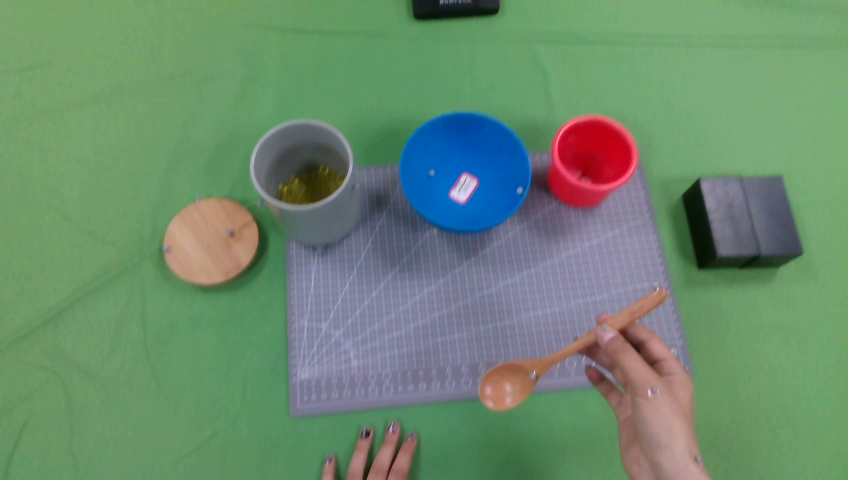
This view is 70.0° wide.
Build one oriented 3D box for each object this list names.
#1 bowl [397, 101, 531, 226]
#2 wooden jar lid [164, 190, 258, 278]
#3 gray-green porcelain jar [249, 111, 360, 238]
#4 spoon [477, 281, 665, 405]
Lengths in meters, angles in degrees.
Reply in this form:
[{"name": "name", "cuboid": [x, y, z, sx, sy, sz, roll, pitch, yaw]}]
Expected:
[{"name": "bowl", "cuboid": [0.045, -0.077, 0.710, 0.151, 0.077, 0.150, 0, 71, -1]}, {"name": "wooden jar lid", "cuboid": [-0.249, -0.006, 0.714, 0.108, 0.021, 0.107, 0, 71, 0]}, {"name": "gray-green porcelain jar", "cuboid": [-0.127, -0.066, 0.677, 0.106, 0.127, 0.105, 0, 71, -1]}, {"name": "spoon", "cuboid": [0.124, 0.091, 0.527, 0.194, 0.022, 0.041, -37, 82, 28]}]
